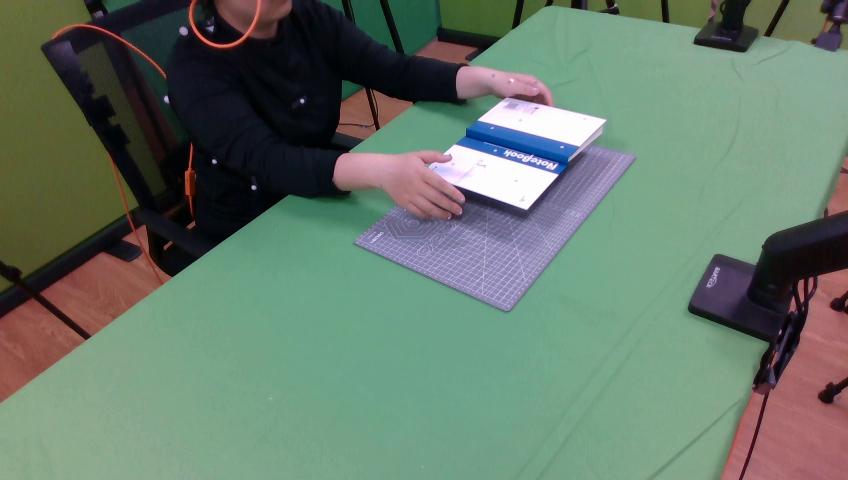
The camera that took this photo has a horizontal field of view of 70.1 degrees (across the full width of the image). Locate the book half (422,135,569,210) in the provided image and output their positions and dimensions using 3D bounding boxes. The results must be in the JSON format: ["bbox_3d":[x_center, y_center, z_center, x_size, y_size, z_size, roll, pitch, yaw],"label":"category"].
[{"bbox_3d":[0.119,-0.121,1.027,0.208,0.007,0.143,23,49,30],"label":"book half"}]

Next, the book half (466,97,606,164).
[{"bbox_3d":[0.204,-0.207,1.105,0.208,0.016,0.149,22,47,31],"label":"book half"}]
